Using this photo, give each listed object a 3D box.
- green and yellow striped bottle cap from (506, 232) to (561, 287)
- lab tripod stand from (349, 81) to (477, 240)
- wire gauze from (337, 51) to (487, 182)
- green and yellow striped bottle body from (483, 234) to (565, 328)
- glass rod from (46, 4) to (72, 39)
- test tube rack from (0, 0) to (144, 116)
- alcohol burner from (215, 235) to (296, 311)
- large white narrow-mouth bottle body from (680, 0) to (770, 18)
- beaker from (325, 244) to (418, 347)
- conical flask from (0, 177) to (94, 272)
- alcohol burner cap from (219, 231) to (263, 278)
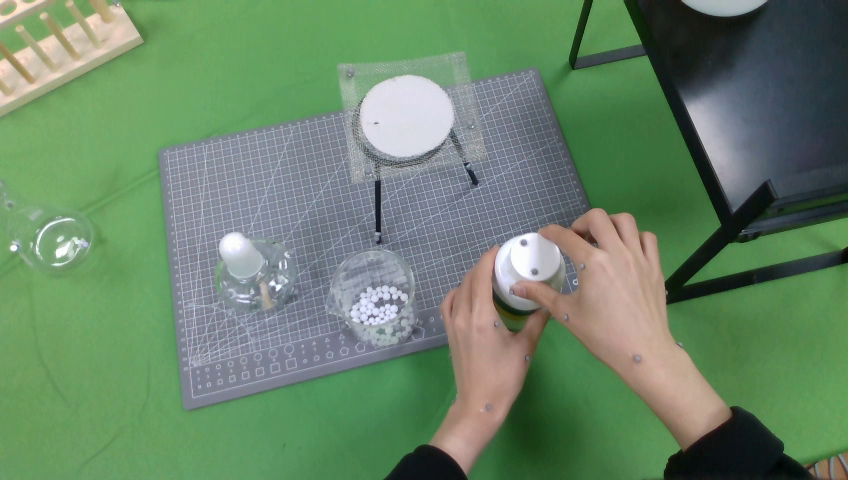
[{"bbox_3d":[0.093,0.016,0.508,0.045,0.020,0.045,1,68,-1],"label":"green and yellow striped bottle cap"},{"bbox_3d":[-0.016,-0.085,0.608,0.148,0.132,0.147,0,67,1],"label":"lab tripod stand"},{"bbox_3d":[-0.012,-0.116,0.547,0.121,0.011,0.124,-8,69,-3],"label":"wire gauze"},{"bbox_3d":[0.091,0.036,0.556,0.063,0.120,0.062,0,67,0],"label":"green and yellow striped bottle body"},{"bbox_3d":[-0.431,-0.291,0.656,0.008,0.201,0.008,1,65,-2],"label":"glass rod"},{"bbox_3d":[-0.467,-0.223,0.702,0.242,0.086,0.066,-32,71,-11],"label":"test tube rack"},{"bbox_3d":[-0.165,0.026,0.579,0.078,0.120,0.077,0,67,0],"label":"alcohol burner"},{"bbox_3d":[0.259,-0.269,0.450,0.102,0.196,0.101,0,66,1],"label":"large white narrow-mouth bottle body"},{"bbox_3d":[-0.045,0.059,0.571,0.084,0.101,0.073,-24,69,-7],"label":"beaker"},{"bbox_3d":[-0.395,-0.021,0.602,0.075,0.123,0.075,-1,68,2],"label":"conical flask"},{"bbox_3d":[-0.167,0.010,0.546,0.034,0.048,0.033,0,61,0],"label":"alcohol burner cap"}]
